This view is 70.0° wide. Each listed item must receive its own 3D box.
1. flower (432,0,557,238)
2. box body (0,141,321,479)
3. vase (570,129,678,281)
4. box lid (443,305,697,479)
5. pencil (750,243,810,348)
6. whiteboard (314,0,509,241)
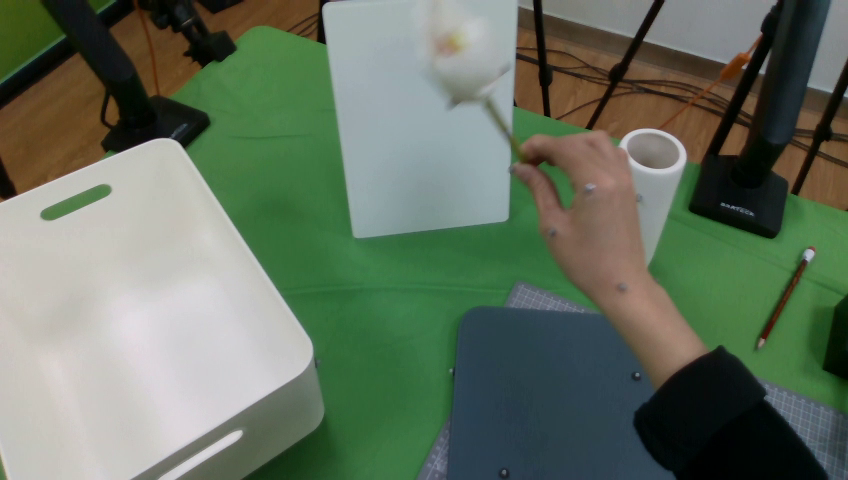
[{"bbox_3d":[0.074,-0.055,0.436,0.043,0.364,0.038,41,90,24],"label":"flower"},{"bbox_3d":[-0.300,0.097,0.642,0.254,0.162,0.360,-30,59,-21],"label":"box body"},{"bbox_3d":[0.237,-0.038,0.726,0.098,0.202,0.097,0,52,1],"label":"vase"},{"bbox_3d":[0.153,0.233,0.638,0.263,0.015,0.368,4,54,2],"label":"box lid"},{"bbox_3d":[0.450,0.068,0.767,0.012,0.012,0.193,33,61,22],"label":"pencil"},{"bbox_3d":[-0.012,-0.175,0.798,0.217,0.308,0.142,-7,34,-5],"label":"whiteboard"}]
